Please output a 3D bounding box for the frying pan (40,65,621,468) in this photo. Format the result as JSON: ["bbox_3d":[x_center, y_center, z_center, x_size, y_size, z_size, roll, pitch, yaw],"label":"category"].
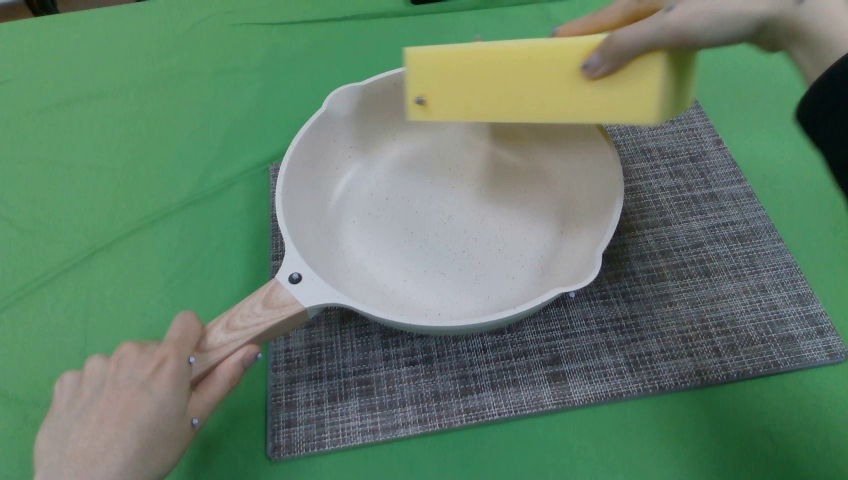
[{"bbox_3d":[-0.057,0.008,0.487,0.488,0.103,0.304,-34,58,-28],"label":"frying pan"}]

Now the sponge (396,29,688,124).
[{"bbox_3d":[0.095,-0.136,0.498,0.205,0.061,0.118,8,22,30],"label":"sponge"}]
